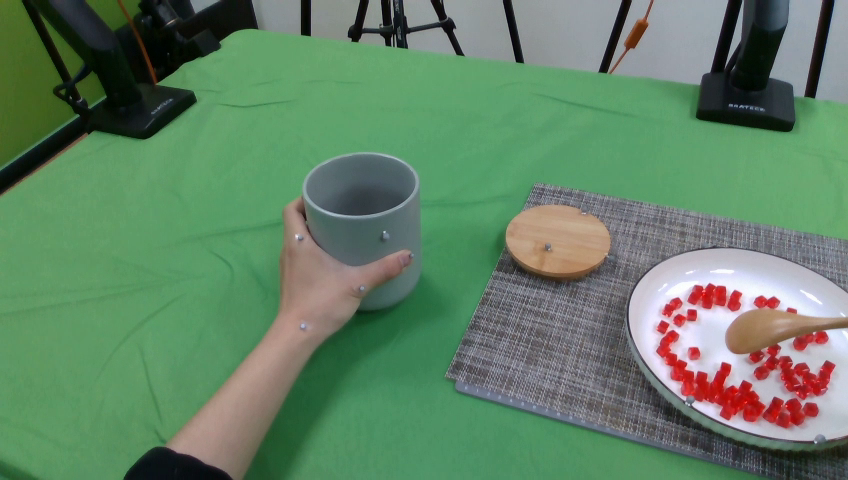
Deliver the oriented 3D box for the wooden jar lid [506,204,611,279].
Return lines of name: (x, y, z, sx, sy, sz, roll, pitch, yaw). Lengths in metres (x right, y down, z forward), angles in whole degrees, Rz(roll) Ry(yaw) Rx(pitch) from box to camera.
wooden jar lid: (0.140, 0.002, 0.636, 0.108, 0.021, 0.107, -1, 42, 2)

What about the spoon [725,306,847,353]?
spoon: (0.310, 0.055, 0.437, 0.193, 0.022, 0.041, -19, 35, 47)

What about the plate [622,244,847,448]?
plate: (0.275, 0.087, 0.518, 0.207, 0.039, 0.205, -2, 43, 3)

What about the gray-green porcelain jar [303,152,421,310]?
gray-green porcelain jar: (-0.055, -0.004, 0.581, 0.106, 0.127, 0.105, 0, 40, 0)
